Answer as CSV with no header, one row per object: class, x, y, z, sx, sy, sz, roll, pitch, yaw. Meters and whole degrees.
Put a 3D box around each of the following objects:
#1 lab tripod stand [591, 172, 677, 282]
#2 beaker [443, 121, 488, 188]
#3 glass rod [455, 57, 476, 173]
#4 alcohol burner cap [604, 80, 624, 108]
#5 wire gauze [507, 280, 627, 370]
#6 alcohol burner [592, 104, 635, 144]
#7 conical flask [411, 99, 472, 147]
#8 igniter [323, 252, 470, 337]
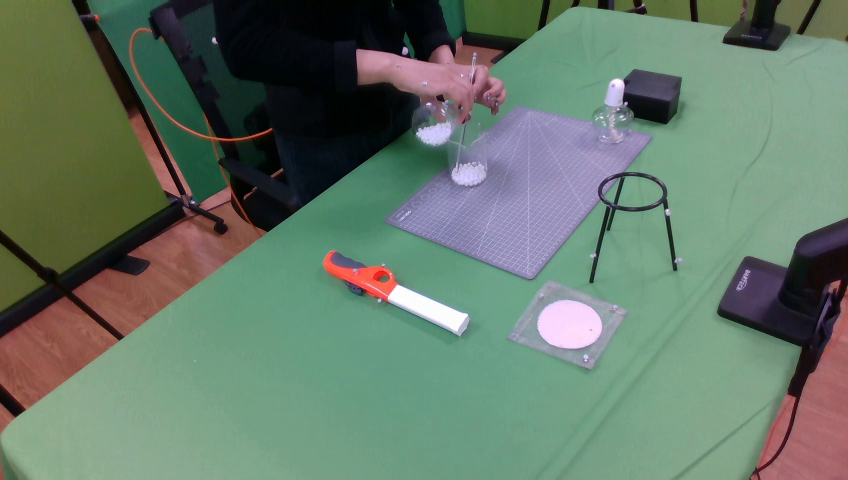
lab tripod stand,0.292,-0.022,0.867,0.148,0.132,0.147,-7,39,6
beaker,0.078,-0.150,1.083,0.074,0.101,0.083,-9,40,1
glass rod,0.071,-0.216,1.054,0.008,0.200,0.008,8,13,-1
alcohol burner cap,0.350,-0.269,1.102,0.034,0.048,0.033,-2,46,2
wire gauze,0.196,0.114,0.823,0.120,0.011,0.125,20,50,31
alcohol burner,0.353,-0.242,1.126,0.078,0.119,0.077,-5,38,5
conical flask,0.037,-0.203,0.997,0.075,0.075,0.122,14,28,26
igniter,-0.052,0.075,0.901,0.274,0.025,0.057,22,60,32
